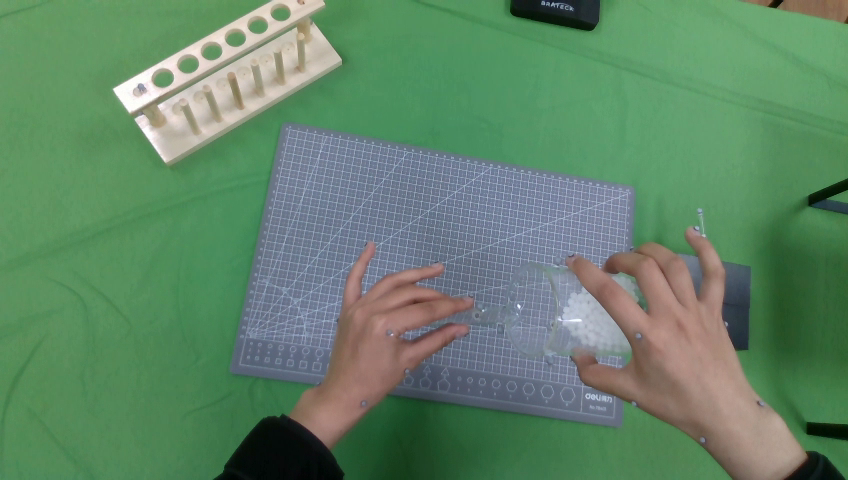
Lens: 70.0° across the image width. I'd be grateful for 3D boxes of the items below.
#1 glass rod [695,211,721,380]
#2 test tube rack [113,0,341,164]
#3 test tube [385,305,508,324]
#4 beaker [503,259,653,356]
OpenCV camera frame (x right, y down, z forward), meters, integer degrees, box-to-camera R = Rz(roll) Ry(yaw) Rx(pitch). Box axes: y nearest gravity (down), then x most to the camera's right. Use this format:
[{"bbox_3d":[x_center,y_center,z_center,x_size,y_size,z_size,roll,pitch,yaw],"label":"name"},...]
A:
[{"bbox_3d":[0.332,0.063,0.708,0.008,0.008,0.198,0,78,-8],"label":"glass rod"},{"bbox_3d":[-0.213,-0.190,0.692,0.242,0.085,0.066,-35,83,-14],"label":"test tube rack"},{"bbox_3d":[0.016,0.070,0.559,0.017,0.149,0.017,8,79,-43],"label":"test tube"},{"bbox_3d":[0.124,0.058,0.491,0.101,0.084,0.073,5,74,-22],"label":"beaker"}]
